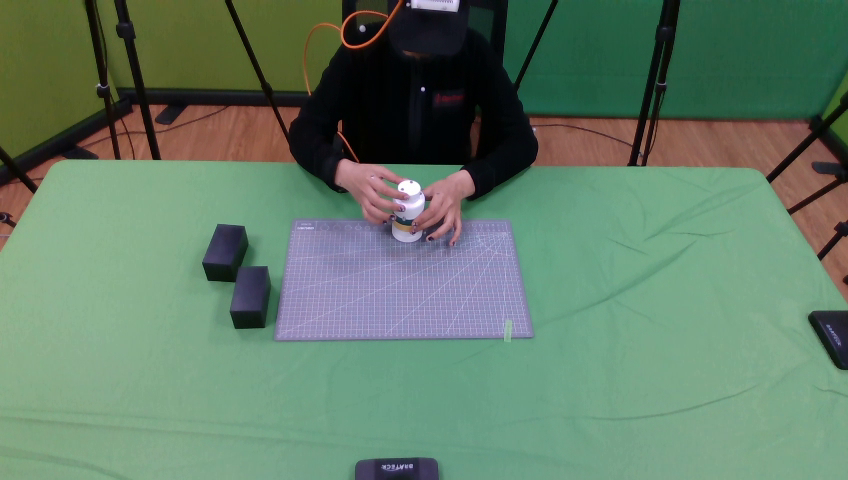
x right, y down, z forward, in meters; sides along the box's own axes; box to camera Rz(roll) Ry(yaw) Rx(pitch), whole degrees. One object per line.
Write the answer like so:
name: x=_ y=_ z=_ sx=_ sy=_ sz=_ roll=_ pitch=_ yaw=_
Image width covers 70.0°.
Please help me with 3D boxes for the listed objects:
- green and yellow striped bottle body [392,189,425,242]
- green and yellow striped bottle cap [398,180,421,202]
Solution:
green and yellow striped bottle body: x=-0.030 y=-0.057 z=1.177 sx=0.063 sy=0.120 sz=0.063 roll=2 pitch=46 yaw=-2
green and yellow striped bottle cap: x=-0.027 y=-0.093 z=1.140 sx=0.045 sy=0.020 sz=0.045 roll=1 pitch=46 yaw=-1
